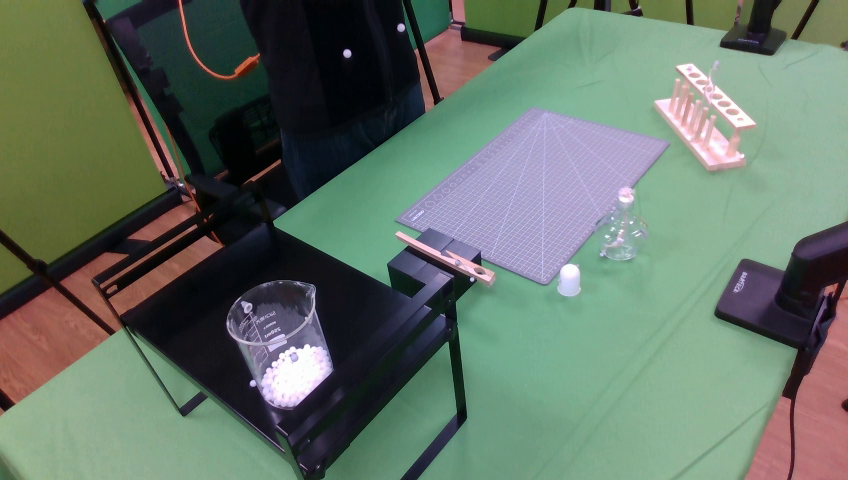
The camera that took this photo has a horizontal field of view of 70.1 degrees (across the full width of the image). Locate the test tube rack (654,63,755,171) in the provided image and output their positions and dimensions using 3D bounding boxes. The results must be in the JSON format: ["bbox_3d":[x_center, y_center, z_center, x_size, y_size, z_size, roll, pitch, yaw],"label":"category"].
[{"bbox_3d":[0.510,-0.233,1.120,0.067,0.085,0.241,-8,41,-1],"label":"test tube rack"}]

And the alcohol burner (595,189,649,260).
[{"bbox_3d":[0.294,-0.028,0.894,0.078,0.119,0.077,-4,43,4],"label":"alcohol burner"}]

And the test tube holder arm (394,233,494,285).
[{"bbox_3d":[0.024,0.025,0.872,0.177,0.015,0.013,22,57,31],"label":"test tube holder arm"}]

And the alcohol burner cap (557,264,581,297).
[{"bbox_3d":[0.208,0.055,0.866,0.034,0.048,0.033,-4,41,4],"label":"alcohol burner cap"}]

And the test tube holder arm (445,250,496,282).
[{"bbox_3d":[0.063,0.036,0.851,0.087,0.015,0.010,24,57,32],"label":"test tube holder arm"}]

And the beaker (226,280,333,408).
[{"bbox_3d":[-0.123,0.096,0.546,0.073,0.101,0.084,27,51,33],"label":"beaker"}]

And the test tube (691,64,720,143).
[{"bbox_3d":[0.492,-0.236,1.056,0.017,0.151,0.017,-3,42,3],"label":"test tube"}]
